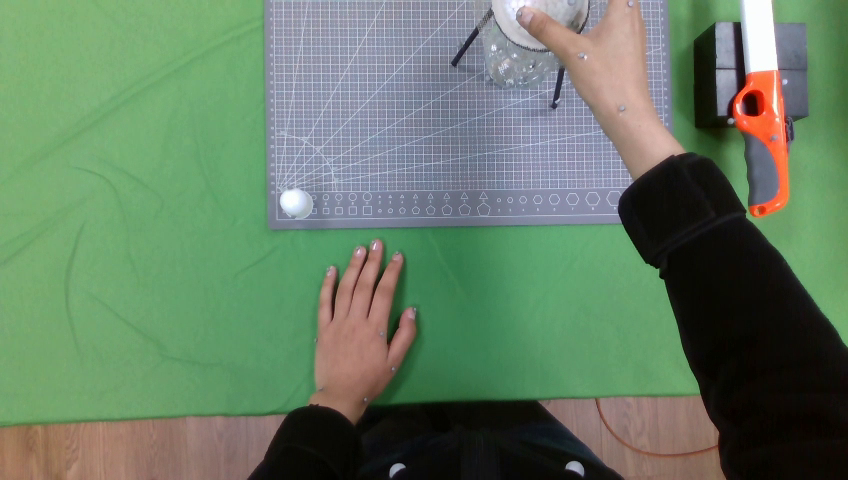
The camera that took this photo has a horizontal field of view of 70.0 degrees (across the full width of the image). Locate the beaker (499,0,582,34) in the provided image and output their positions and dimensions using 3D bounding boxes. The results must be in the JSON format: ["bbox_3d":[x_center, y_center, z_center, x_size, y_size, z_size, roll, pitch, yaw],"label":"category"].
[{"bbox_3d":[0.100,-0.220,0.495,0.084,0.100,0.074,-2,86,-3],"label":"beaker"}]

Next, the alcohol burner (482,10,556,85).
[{"bbox_3d":[0.100,-0.202,0.618,0.078,0.119,0.078,0,89,-2],"label":"alcohol burner"}]

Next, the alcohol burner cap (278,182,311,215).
[{"bbox_3d":[-0.138,-0.045,0.638,0.034,0.048,0.034,0,88,-3],"label":"alcohol burner cap"}]

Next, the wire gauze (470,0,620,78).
[{"bbox_3d":[0.104,-0.214,0.543,0.125,0.011,0.121,-14,89,-5],"label":"wire gauze"}]

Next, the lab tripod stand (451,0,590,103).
[{"bbox_3d":[0.104,-0.217,0.609,0.148,0.131,0.148,0,86,-2],"label":"lab tripod stand"}]

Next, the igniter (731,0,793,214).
[{"bbox_3d":[0.347,-0.166,0.628,0.057,0.025,0.276,-3,87,9],"label":"igniter"}]
